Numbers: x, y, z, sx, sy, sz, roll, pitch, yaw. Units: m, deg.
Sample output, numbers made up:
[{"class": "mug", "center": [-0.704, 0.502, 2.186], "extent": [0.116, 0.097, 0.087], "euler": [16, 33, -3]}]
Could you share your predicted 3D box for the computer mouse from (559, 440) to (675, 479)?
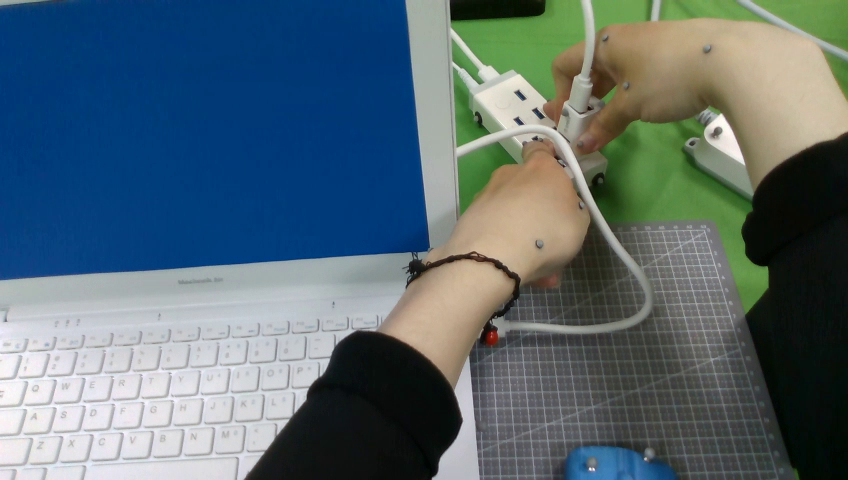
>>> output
[{"class": "computer mouse", "center": [0.100, 0.162, 0.317], "extent": [0.062, 0.041, 0.116], "euler": [8, 53, 11]}]

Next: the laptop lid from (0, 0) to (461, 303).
[{"class": "laptop lid", "center": [-0.158, -0.048, 0.344], "extent": [0.357, 0.244, 0.013], "euler": [-5, 44, 2]}]

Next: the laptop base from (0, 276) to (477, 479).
[{"class": "laptop base", "center": [-0.145, 0.137, 0.364], "extent": [0.354, 0.023, 0.233], "euler": [-4, 60, 1]}]

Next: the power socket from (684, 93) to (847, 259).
[{"class": "power socket", "center": [0.302, -0.032, 0.438], "extent": [0.072, 0.033, 0.224], "euler": [-38, 62, -20]}]

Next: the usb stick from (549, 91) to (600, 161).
[{"class": "usb stick", "center": [0.110, -0.081, 0.451], "extent": [0.027, 0.059, 0.021], "euler": [-32, 68, -12]}]

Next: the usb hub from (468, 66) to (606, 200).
[{"class": "usb hub", "center": [0.088, -0.090, 0.492], "extent": [0.049, 0.025, 0.124], "euler": [-27, 59, -14]}]
